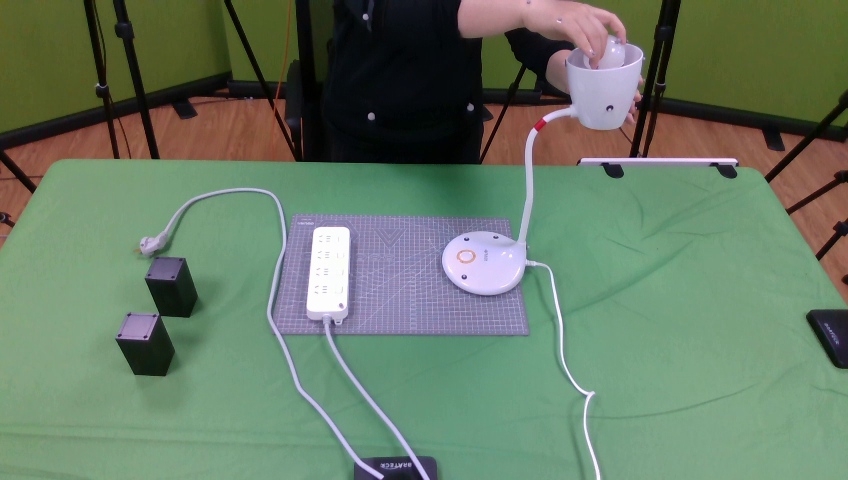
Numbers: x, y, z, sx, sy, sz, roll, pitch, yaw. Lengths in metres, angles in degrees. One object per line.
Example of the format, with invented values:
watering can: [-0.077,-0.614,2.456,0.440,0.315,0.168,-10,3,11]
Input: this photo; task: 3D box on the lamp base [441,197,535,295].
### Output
lamp base: [0.129,-0.012,1.105,0.179,0.181,0.159,-1,46,-9]

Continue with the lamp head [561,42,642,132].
lamp head: [0.270,-0.230,0.935,0.112,0.123,0.112,-2,37,2]

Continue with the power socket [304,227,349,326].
power socket: [-0.177,0.059,1.115,0.072,0.033,0.225,-1,46,-4]

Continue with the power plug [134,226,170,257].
power plug: [-0.515,0.006,1.153,0.052,0.035,0.072,-6,24,7]

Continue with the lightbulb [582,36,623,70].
lightbulb: [0.272,-0.254,0.919,0.059,0.108,0.059,-9,32,6]
